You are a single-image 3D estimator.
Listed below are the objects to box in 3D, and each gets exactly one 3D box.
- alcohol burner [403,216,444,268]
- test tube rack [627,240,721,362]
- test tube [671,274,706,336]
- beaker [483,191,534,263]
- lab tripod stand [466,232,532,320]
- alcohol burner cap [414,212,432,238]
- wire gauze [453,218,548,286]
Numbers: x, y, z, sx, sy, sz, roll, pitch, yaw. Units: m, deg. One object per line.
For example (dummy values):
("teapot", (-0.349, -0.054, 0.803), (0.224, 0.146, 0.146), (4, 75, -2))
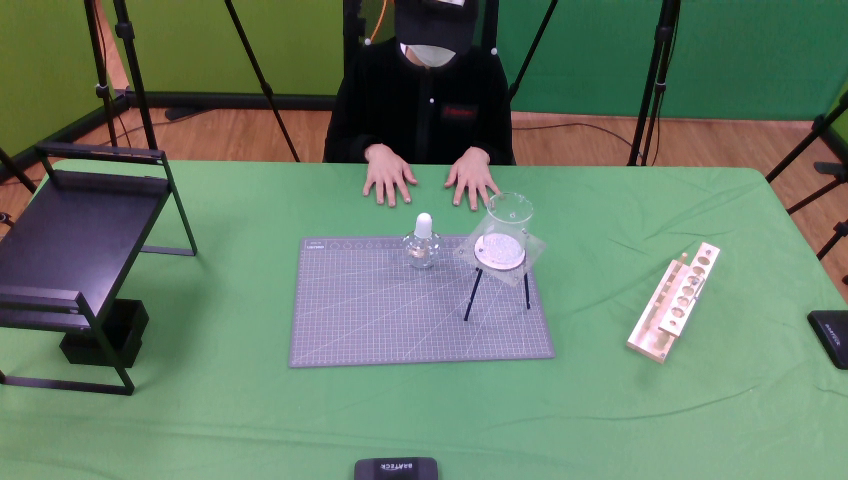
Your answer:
("alcohol burner", (-0.001, -0.004, 1.132), (0.078, 0.120, 0.077), (1, 46, 0))
("test tube rack", (0.452, 0.098, 1.087), (0.066, 0.085, 0.242), (28, 51, 22))
("test tube", (0.429, 0.112, 1.004), (0.017, 0.151, 0.017), (4, 43, -4))
("beaker", (0.135, -0.020, 0.983), (0.073, 0.101, 0.084), (28, 50, 23))
("lab tripod stand", (0.125, 0.059, 1.065), (0.148, 0.132, 0.147), (1, 45, 0))
("alcohol burner cap", (0.000, -0.030, 1.107), (0.034, 0.048, 0.033), (4, 41, -3))
("wire gauze", (0.129, 0.014, 1.019), (0.124, 0.011, 0.121), (25, 47, 25))
